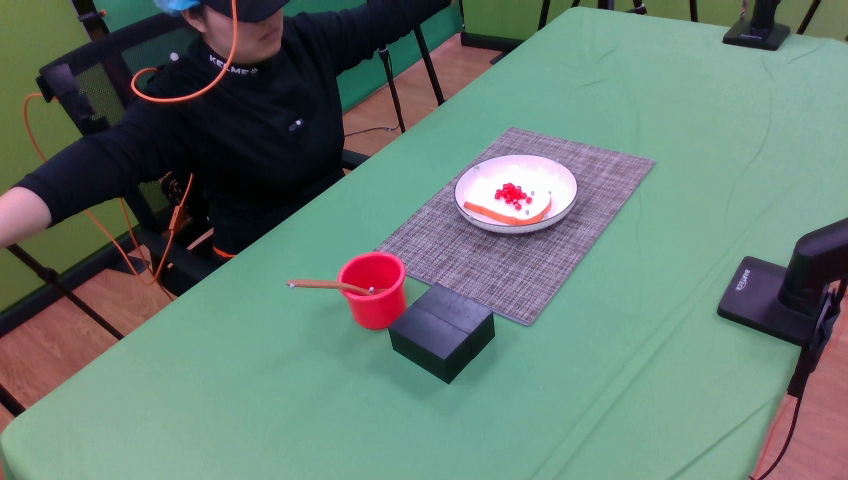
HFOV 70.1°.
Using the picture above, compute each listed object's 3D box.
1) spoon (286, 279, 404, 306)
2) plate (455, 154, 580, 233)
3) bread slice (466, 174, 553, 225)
[{"bbox_3d":[-0.104,0.068,0.832,0.195,0.021,0.041,17,21,-43],"label":"spoon"},{"bbox_3d":[0.158,-0.076,1.028,0.209,0.038,0.208,-5,40,5],"label":"plate"},{"bbox_3d":[0.152,-0.067,1.022,0.130,0.019,0.105,22,50,33],"label":"bread slice"}]
